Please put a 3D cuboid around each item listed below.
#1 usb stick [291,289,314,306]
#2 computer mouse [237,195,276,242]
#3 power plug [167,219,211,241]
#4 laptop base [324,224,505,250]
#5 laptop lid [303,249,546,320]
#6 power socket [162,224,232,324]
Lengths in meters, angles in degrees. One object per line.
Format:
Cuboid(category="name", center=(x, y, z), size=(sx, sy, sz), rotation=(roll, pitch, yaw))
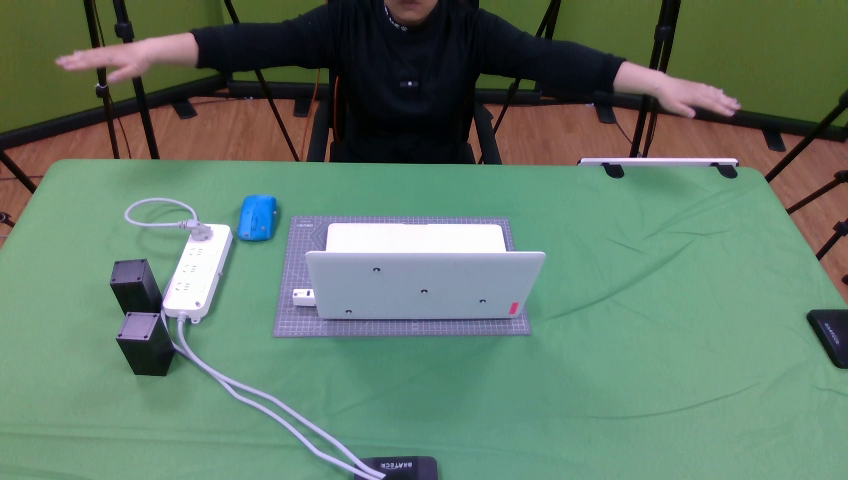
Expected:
Cuboid(category="usb stick", center=(-0.203, 0.102, 1.066), size=(0.059, 0.027, 0.021), rotation=(4, 44, -5))
Cuboid(category="computer mouse", center=(-0.333, -0.047, 1.207), size=(0.063, 0.041, 0.116), rotation=(3, 50, -5))
Cuboid(category="power plug", center=(-0.438, -0.017, 1.143), size=(0.072, 0.053, 0.035), rotation=(11, 44, 6))
Cuboid(category="laptop base", center=(-0.014, 0.055, 1.144), size=(0.355, 0.023, 0.234), rotation=(0, 42, -4))
Cuboid(category="laptop lid", center=(-0.002, 0.077, 0.961), size=(0.357, 0.242, 0.013), rotation=(1, 58, -5))
Cuboid(category="power socket", center=(-0.411, 0.052, 1.106), size=(0.072, 0.033, 0.225), rotation=(3, 45, -1))
